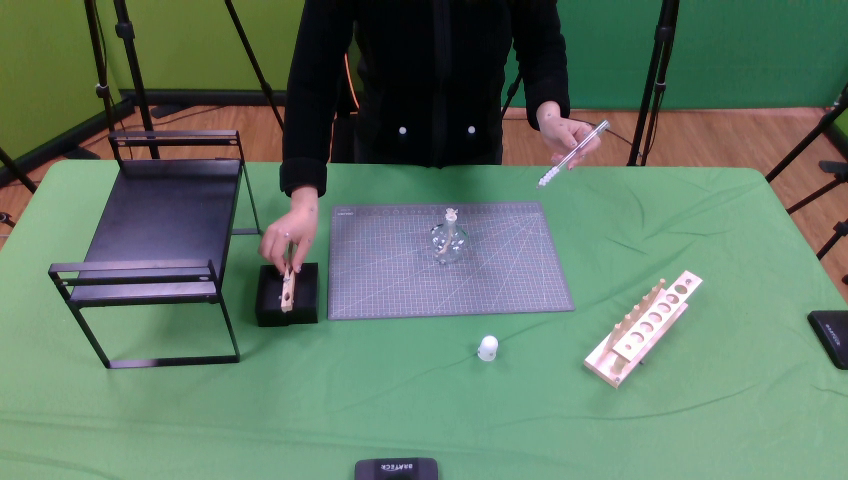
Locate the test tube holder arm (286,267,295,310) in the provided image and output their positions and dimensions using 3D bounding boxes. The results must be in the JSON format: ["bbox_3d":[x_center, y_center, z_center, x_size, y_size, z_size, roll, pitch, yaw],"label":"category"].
[{"bbox_3d":[-0.228,0.082,1.035,0.010,0.015,0.087,-2,44,-6],"label":"test tube holder arm"}]

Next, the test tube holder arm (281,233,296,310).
[{"bbox_3d":[-0.238,0.051,1.067,0.013,0.015,0.177,-2,44,-6],"label":"test tube holder arm"}]

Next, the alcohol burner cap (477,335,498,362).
[{"bbox_3d":[0.108,0.180,1.016,0.034,0.048,0.033,3,51,-3],"label":"alcohol burner cap"}]

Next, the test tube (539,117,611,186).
[{"bbox_3d":[0.246,-0.144,0.999,0.017,0.150,0.017,41,17,-15],"label":"test tube"}]

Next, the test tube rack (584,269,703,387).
[{"bbox_3d":[0.381,0.139,1.045,0.066,0.085,0.242,37,54,28],"label":"test tube rack"}]

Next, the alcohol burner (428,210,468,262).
[{"bbox_3d":[0.048,-0.014,1.146,0.078,0.119,0.077,3,48,-3],"label":"alcohol burner"}]
